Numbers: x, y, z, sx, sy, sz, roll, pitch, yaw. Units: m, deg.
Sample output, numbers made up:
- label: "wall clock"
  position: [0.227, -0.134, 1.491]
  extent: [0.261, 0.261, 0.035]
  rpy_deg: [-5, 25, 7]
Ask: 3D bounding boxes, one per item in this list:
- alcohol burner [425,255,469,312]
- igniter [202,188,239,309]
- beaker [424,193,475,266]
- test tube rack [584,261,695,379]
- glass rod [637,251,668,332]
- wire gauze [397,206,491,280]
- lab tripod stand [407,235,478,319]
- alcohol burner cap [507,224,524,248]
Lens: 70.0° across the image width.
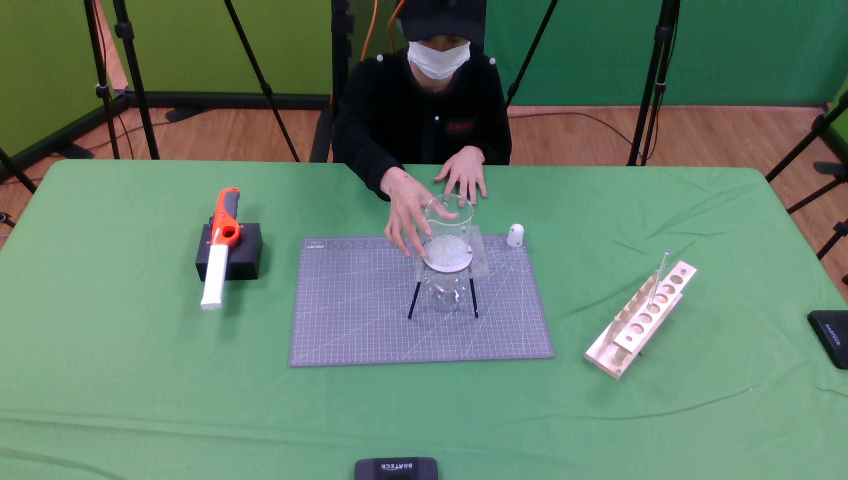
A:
- label: "alcohol burner"
  position: [0.041, 0.072, 1.065]
  extent: [0.078, 0.120, 0.077]
  rpy_deg: [1, 46, -1]
- label: "igniter"
  position: [-0.367, 0.006, 1.095]
  extent: [0.057, 0.025, 0.274]
  rpy_deg: [-2, 49, -7]
- label: "beaker"
  position: [0.036, -0.013, 0.974]
  extent: [0.084, 0.101, 0.073]
  rpy_deg: [-18, 48, -20]
- label: "test tube rack"
  position: [0.380, 0.127, 1.062]
  extent: [0.066, 0.085, 0.242]
  rpy_deg: [34, 53, 26]
- label: "glass rod"
  position: [0.378, 0.090, 1.005]
  extent: [0.008, 0.201, 0.008]
  rpy_deg: [-1, 44, 1]
- label: "wire gauze"
  position: [0.032, 0.005, 1.001]
  extent: [0.125, 0.011, 0.120]
  rpy_deg: [-20, 53, -16]
- label: "lab tripod stand"
  position: [0.032, 0.065, 1.057]
  extent: [0.148, 0.132, 0.147]
  rpy_deg: [1, 45, -1]
- label: "alcohol burner cap"
  position: [0.184, -0.010, 1.206]
  extent: [0.034, 0.048, 0.033]
  rpy_deg: [0, 45, 0]
